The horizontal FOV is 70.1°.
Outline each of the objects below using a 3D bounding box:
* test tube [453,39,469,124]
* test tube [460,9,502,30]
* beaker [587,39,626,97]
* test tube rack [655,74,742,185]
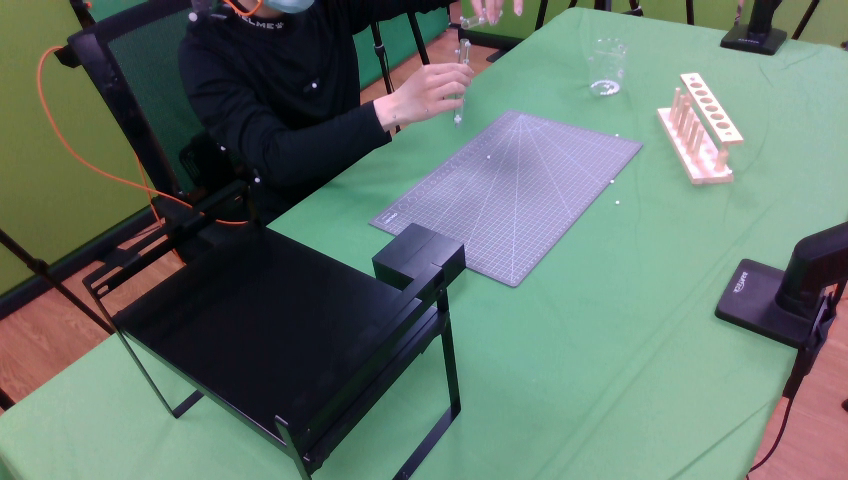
[{"bbox_3d":[0.063,-0.273,1.053,0.017,0.150,0.017,3,35,-2],"label":"test tube"},{"bbox_3d":[0.102,-0.386,1.056,0.017,0.017,0.151,16,33,25],"label":"test tube"},{"bbox_3d":[0.386,-0.361,1.280,0.074,0.101,0.083,-22,43,-15],"label":"beaker"},{"bbox_3d":[0.488,-0.205,1.093,0.067,0.085,0.241,-3,41,5],"label":"test tube rack"}]
